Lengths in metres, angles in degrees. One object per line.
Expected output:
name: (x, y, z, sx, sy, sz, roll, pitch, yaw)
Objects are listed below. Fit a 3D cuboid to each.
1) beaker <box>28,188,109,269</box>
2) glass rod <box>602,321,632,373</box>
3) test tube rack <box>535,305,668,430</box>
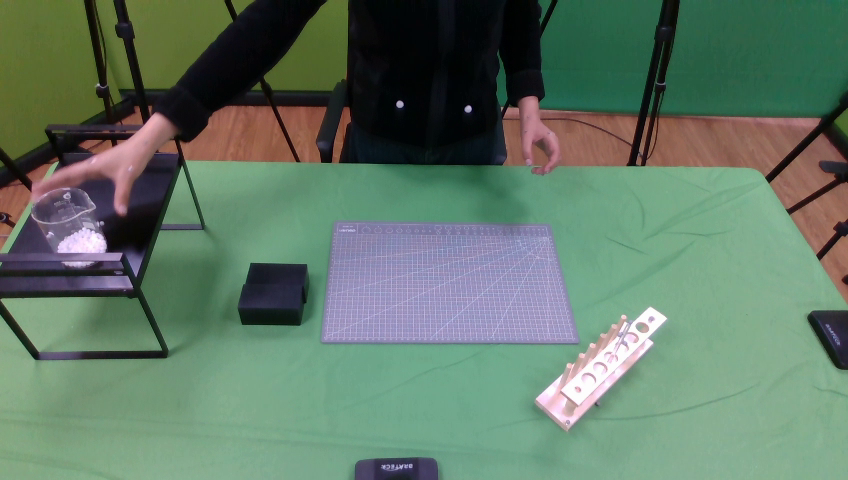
beaker: (-0.502, -0.014, 0.869, 0.084, 0.101, 0.073, -3, 47, -7)
glass rod: (0.286, 0.173, 0.913, 0.008, 0.201, 0.008, -1, 53, 1)
test tube rack: (0.290, 0.193, 0.984, 0.242, 0.085, 0.066, -32, 56, -30)
